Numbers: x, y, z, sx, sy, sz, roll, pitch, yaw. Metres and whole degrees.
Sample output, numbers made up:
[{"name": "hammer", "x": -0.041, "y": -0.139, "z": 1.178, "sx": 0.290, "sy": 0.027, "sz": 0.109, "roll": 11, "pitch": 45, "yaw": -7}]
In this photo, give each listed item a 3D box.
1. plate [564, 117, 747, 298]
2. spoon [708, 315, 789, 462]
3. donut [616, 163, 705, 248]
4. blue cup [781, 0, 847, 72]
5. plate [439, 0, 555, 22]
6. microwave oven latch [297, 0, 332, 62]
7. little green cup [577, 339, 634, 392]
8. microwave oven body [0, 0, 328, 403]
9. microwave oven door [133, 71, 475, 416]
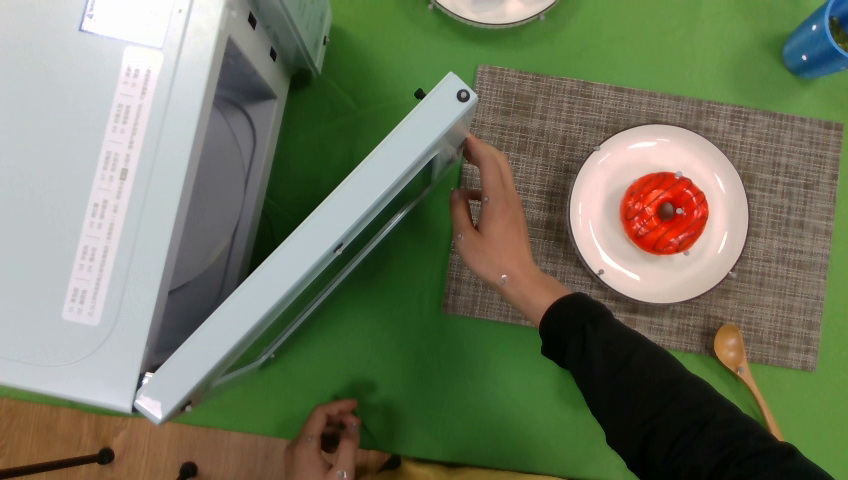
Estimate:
[{"name": "plate", "x": 0.264, "y": -0.038, "z": 0.705, "sx": 0.209, "sy": 0.038, "sz": 0.209, "roll": 0, "pitch": 88, "yaw": -1}, {"name": "spoon", "x": 0.382, "y": 0.176, "z": 0.708, "sx": 0.041, "sy": 0.021, "sz": 0.193, "roll": -28, "pitch": 90, "yaw": -18}, {"name": "donut", "x": 0.270, "y": -0.039, "z": 0.694, "sx": 0.099, "sy": 0.048, "sz": 0.099, "roll": 0, "pitch": 88, "yaw": 1}, {"name": "blue cup", "x": 0.465, "y": -0.236, "z": 0.691, "sx": 0.093, "sy": 0.100, "sz": 0.092, "roll": 0, "pitch": 89, "yaw": -1}, {"name": "plate", "x": 0.085, "y": -0.357, "z": 0.719, "sx": 0.208, "sy": 0.039, "sz": 0.207, "roll": 0, "pitch": 87, "yaw": -1}, {"name": "microwave oven latch", "x": -0.126, "y": -0.247, "z": 0.691, "sx": 0.030, "sy": 0.029, "sz": 0.079, "roll": 15, "pitch": 88, "yaw": -1}, {"name": "little green cup", "x": 0.207, "y": 0.143, "z": 0.700, "sx": 0.061, "sy": 0.038, "sz": 0.061, "roll": 0, "pitch": 85, "yaw": -1}, {"name": "microwave oven body", "x": -0.307, "y": -0.110, "z": 0.585, "sx": 0.326, "sy": 0.260, "sz": 0.441, "roll": 12, "pitch": 88, "yaw": -1}, {"name": "microwave oven door", "x": -0.093, "y": 0.006, "z": 0.581, "sx": 0.039, "sy": 0.244, "sz": 0.355, "roll": 44, "pitch": 87, "yaw": 2}]
